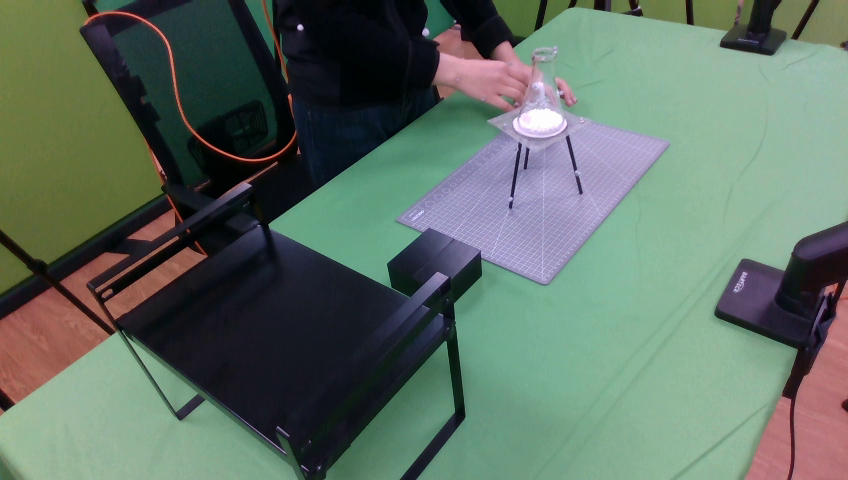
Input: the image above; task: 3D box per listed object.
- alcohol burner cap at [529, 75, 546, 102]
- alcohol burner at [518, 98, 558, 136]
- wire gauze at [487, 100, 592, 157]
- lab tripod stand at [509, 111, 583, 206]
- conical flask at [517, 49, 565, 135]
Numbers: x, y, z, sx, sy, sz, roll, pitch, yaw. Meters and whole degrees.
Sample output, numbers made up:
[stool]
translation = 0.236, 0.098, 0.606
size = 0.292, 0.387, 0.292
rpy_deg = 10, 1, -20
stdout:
[alcohol burner cap]
translation = 0.217, -0.293, 1.156
size = 0.034, 0.048, 0.033
rpy_deg = -3, 46, 4
[alcohol burner]
translation = 0.221, -0.265, 1.179
size = 0.078, 0.119, 0.077
rpy_deg = -6, 39, 5
[wire gauze]
translation = 0.185, -0.187, 0.974
size = 0.122, 0.011, 0.124
rpy_deg = -28, 47, -22
[lab tripod stand]
translation = 0.197, -0.139, 1.019
size = 0.148, 0.132, 0.147
rpy_deg = -3, 39, 3
[conical flask]
translation = 0.183, -0.231, 0.936
size = 0.075, 0.122, 0.075
rpy_deg = -4, 40, 4
